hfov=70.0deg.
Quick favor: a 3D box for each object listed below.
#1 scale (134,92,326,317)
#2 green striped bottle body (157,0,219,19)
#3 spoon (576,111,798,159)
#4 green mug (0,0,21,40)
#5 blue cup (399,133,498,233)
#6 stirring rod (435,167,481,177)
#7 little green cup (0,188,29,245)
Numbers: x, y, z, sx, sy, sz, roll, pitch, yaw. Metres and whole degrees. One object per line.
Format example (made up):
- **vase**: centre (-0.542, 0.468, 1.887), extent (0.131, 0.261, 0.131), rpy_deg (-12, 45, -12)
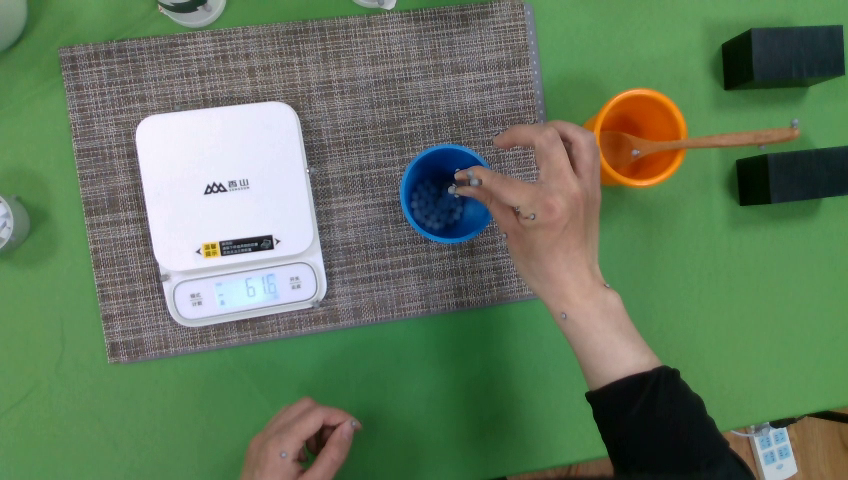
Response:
- **scale**: centre (-0.181, -0.033, 0.573), extent (0.149, 0.031, 0.201), rpy_deg (-10, 94, -6)
- **green striped bottle body**: centre (-0.218, -0.239, 0.520), extent (0.063, 0.119, 0.063), rpy_deg (0, 92, -6)
- **spoon**: centre (0.236, -0.101, 0.564), extent (0.022, 0.192, 0.042), rpy_deg (-16, 103, -49)
- **green mug**: centre (-0.416, -0.201, 0.506), extent (0.093, 0.104, 0.125), rpy_deg (27, 89, -7)
- **blue cup**: centre (0.015, -0.048, 0.561), extent (0.093, 0.100, 0.092), rpy_deg (0, 90, -7)
- **stirring rod**: centre (0.026, -0.058, 0.513), extent (0.014, 0.175, 0.006), rpy_deg (-10, 97, -5)
- **little green cup**: centre (-0.395, -0.022, 0.549), extent (0.062, 0.038, 0.061), rpy_deg (0, 92, -8)
